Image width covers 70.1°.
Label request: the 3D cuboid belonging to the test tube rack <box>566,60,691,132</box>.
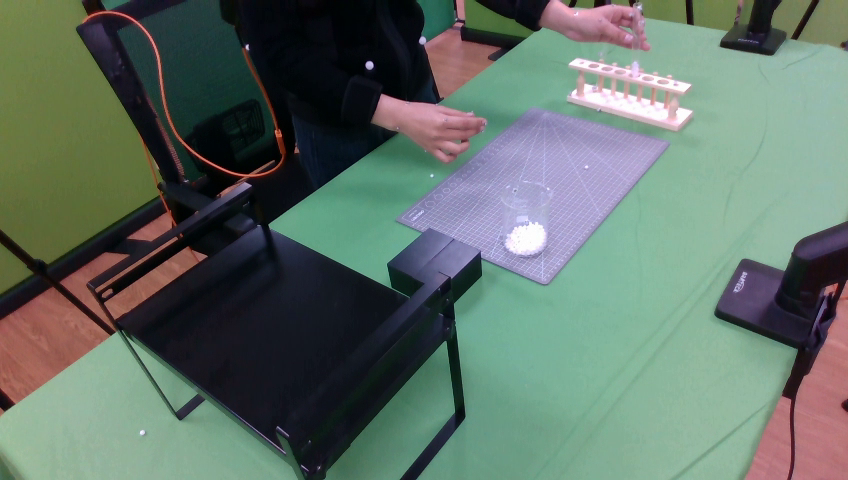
[{"bbox_3d":[0.411,-0.300,1.217,0.240,0.085,0.067,26,51,33],"label":"test tube rack"}]

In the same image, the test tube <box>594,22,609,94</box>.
[{"bbox_3d":[0.363,-0.371,1.238,0.017,0.151,0.017,-4,40,4],"label":"test tube"}]

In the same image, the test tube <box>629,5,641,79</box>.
[{"bbox_3d":[0.394,-0.364,1.129,0.017,0.151,0.017,-8,43,8],"label":"test tube"}]

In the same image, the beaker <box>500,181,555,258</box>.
[{"bbox_3d":[0.158,-0.030,0.922,0.084,0.100,0.073,-13,41,-8],"label":"beaker"}]
